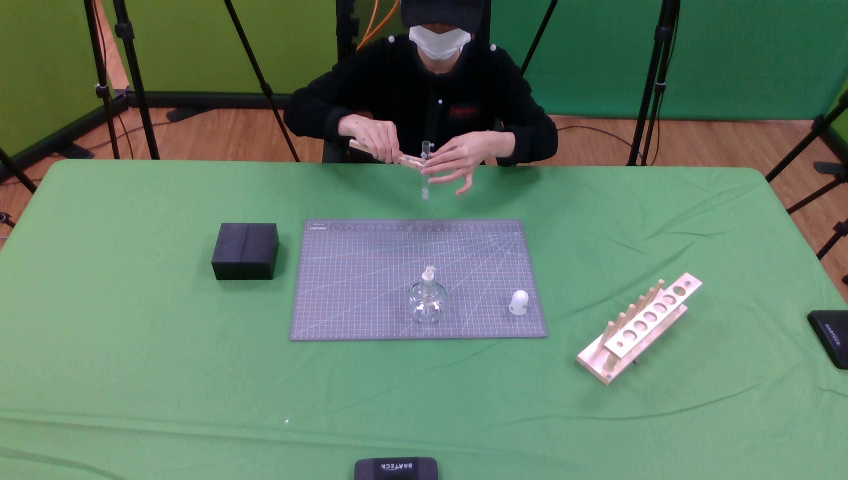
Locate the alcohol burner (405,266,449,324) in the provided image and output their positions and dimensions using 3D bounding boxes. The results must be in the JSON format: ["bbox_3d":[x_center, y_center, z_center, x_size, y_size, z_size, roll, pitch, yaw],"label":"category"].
[{"bbox_3d":[0.005,0.089,1.043,0.078,0.120,0.077,1,45,-1],"label":"alcohol burner"}]

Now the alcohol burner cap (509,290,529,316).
[{"bbox_3d":[0.171,0.110,1.086,0.034,0.048,0.033,2,45,-2],"label":"alcohol burner cap"}]

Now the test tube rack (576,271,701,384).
[{"bbox_3d":[0.373,0.138,1.047,0.242,0.085,0.066,-31,56,-29],"label":"test tube rack"}]

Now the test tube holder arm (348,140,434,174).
[{"bbox_3d":[-0.065,-0.161,1.167,0.178,0.015,0.013,18,46,8],"label":"test tube holder arm"}]

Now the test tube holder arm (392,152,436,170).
[{"bbox_3d":[-0.020,-0.153,1.165,0.088,0.015,0.010,13,46,4],"label":"test tube holder arm"}]

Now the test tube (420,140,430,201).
[{"bbox_3d":[0.001,-0.132,1.173,0.017,0.151,0.017,1,49,-1],"label":"test tube"}]
